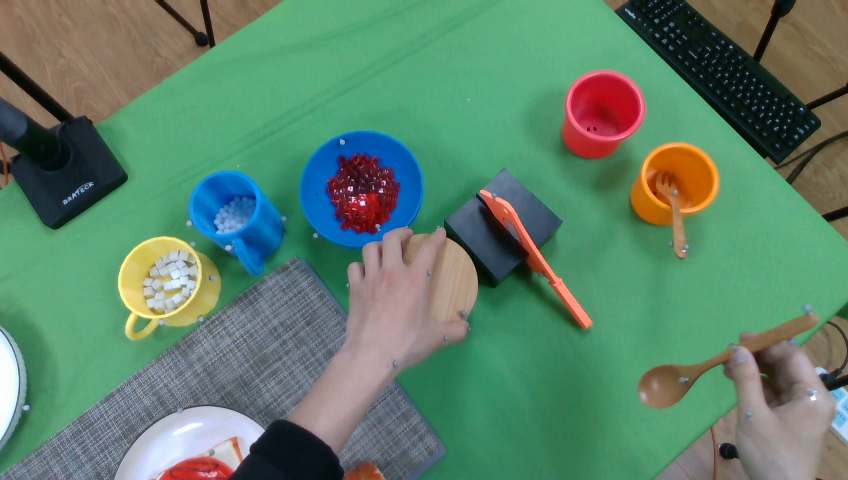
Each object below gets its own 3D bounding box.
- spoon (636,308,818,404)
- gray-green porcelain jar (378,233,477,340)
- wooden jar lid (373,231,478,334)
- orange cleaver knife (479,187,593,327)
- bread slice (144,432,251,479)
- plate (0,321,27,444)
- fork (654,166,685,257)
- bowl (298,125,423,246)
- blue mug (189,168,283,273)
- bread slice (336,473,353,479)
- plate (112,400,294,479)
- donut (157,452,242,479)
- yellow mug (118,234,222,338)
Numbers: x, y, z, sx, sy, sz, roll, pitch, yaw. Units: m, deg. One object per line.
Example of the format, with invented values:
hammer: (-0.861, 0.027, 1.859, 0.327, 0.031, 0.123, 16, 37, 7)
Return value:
spoon: (0.263, 0.106, 0.545, 0.022, 0.194, 0.041, 7, 58, -23)
gray-green porcelain jar: (0.005, 0.059, 0.700, 0.106, 0.127, 0.105, 0, 74, 1)
wooden jar lid: (0.001, 0.044, 0.629, 0.108, 0.021, 0.108, 0, 77, 2)
orange cleaver knife: (0.134, 0.020, 0.730, 0.012, 0.077, 0.212, -40, 107, -8)
bread slice: (-0.258, 0.296, 0.689, 0.131, 0.019, 0.104, -24, 75, -10)
plate: (-0.577, 0.183, 0.727, 0.208, 0.039, 0.206, 0, 75, 1)
fork: (0.289, -0.039, 0.707, 0.028, 0.019, 0.206, 23, 32, 2)
bowl: (-0.074, -0.056, 0.759, 0.151, 0.077, 0.150, 0, 75, 2)
blue mug: (-0.221, -0.015, 0.737, 0.082, 0.106, 0.116, -18, 75, -3)
bread slice: (-0.062, 0.294, 0.635, 0.018, 0.135, 0.106, -30, 74, -15)
plate: (-0.246, 0.288, 0.686, 0.209, 0.038, 0.208, 0, 75, 2)
donut: (-0.244, 0.282, 0.658, 0.099, 0.048, 0.098, 1, 75, -2)
yellow mug: (-0.317, 0.062, 0.739, 0.099, 0.064, 0.130, 29, 79, 9)
